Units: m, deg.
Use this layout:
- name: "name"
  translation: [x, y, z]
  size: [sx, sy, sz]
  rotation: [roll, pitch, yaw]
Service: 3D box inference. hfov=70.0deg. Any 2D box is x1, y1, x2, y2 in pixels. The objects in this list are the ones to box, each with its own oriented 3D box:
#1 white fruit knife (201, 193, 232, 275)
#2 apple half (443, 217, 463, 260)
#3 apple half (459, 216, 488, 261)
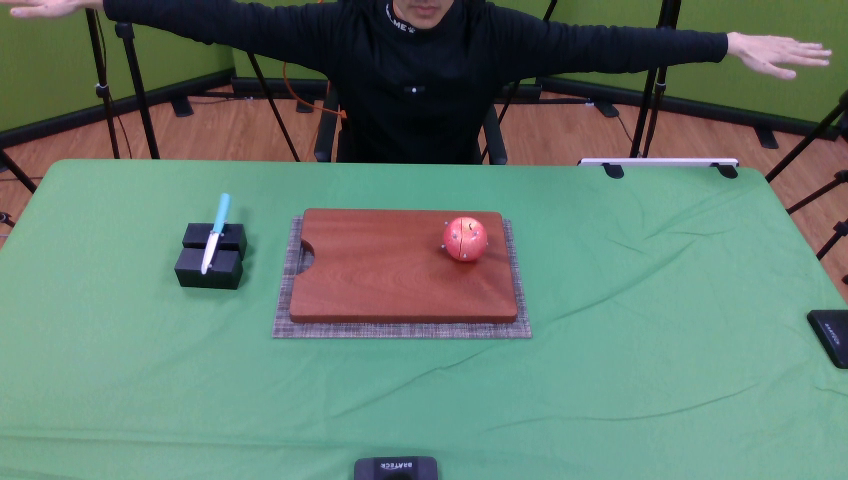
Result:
- name: "white fruit knife"
  translation: [-0.383, -0.015, 1.119]
  size: [0.027, 0.016, 0.206]
  rotation: [-20, 45, 19]
- name: "apple half"
  translation: [0.052, -0.001, 1.123]
  size: [0.033, 0.081, 0.081]
  rotation: [4, 46, -3]
- name: "apple half"
  translation: [0.091, 0.000, 1.126]
  size: [0.053, 0.075, 0.080]
  rotation: [5, 42, -5]
